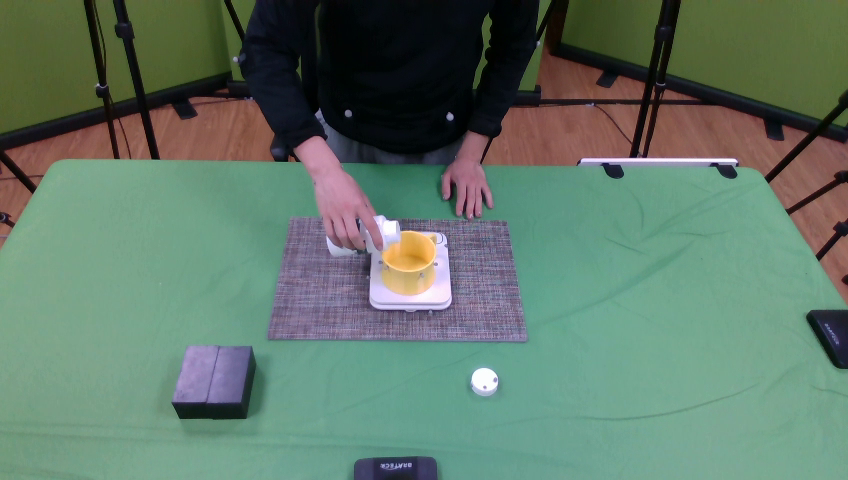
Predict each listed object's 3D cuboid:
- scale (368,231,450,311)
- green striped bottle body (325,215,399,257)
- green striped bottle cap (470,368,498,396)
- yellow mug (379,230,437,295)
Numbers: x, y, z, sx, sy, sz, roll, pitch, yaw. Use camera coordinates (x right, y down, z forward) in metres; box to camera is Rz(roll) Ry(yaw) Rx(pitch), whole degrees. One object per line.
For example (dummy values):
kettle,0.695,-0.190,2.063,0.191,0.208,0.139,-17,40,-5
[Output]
scale,-0.029,0.048,1.137,0.149,0.032,0.199,1,46,-4
green striped bottle body,-0.104,-0.009,1.039,0.119,0.063,0.063,-7,45,8
green striped bottle cap,0.097,0.231,0.989,0.044,0.020,0.044,2,44,-2
yellow mug,-0.020,0.031,1.089,0.099,0.064,0.130,31,51,25
